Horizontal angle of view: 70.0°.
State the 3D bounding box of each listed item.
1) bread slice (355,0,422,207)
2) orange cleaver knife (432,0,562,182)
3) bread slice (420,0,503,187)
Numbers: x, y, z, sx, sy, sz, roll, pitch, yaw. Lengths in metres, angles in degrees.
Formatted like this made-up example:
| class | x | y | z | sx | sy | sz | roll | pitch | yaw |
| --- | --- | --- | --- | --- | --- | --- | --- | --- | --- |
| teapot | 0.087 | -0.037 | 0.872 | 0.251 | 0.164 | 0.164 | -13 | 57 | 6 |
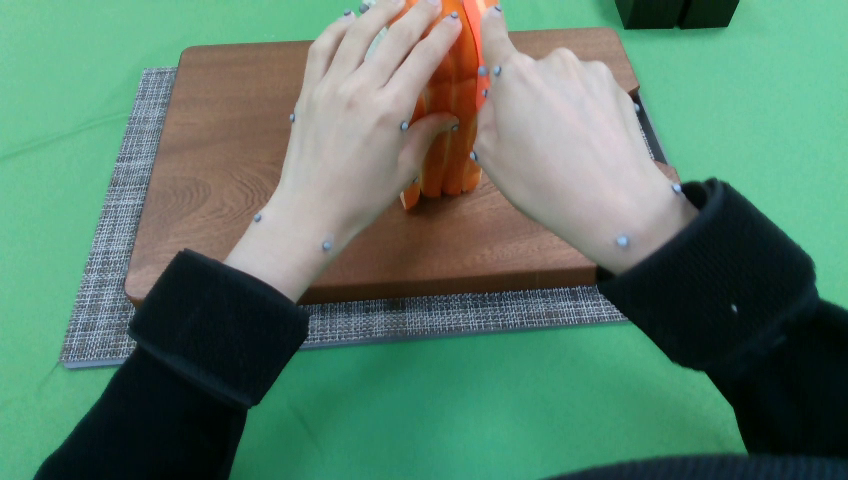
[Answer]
| class | x | y | z | sx | sy | sz | roll | pitch | yaw |
| --- | --- | --- | --- | --- | --- | --- | --- | --- | --- |
| bread slice | -0.027 | -0.107 | 0.421 | 0.018 | 0.135 | 0.106 | -15 | 50 | -15 |
| orange cleaver knife | 0.033 | -0.111 | 0.367 | 0.012 | 0.078 | 0.209 | -12 | 63 | -12 |
| bread slice | 0.025 | -0.118 | 0.432 | 0.019 | 0.132 | 0.103 | -11 | 53 | -17 |
